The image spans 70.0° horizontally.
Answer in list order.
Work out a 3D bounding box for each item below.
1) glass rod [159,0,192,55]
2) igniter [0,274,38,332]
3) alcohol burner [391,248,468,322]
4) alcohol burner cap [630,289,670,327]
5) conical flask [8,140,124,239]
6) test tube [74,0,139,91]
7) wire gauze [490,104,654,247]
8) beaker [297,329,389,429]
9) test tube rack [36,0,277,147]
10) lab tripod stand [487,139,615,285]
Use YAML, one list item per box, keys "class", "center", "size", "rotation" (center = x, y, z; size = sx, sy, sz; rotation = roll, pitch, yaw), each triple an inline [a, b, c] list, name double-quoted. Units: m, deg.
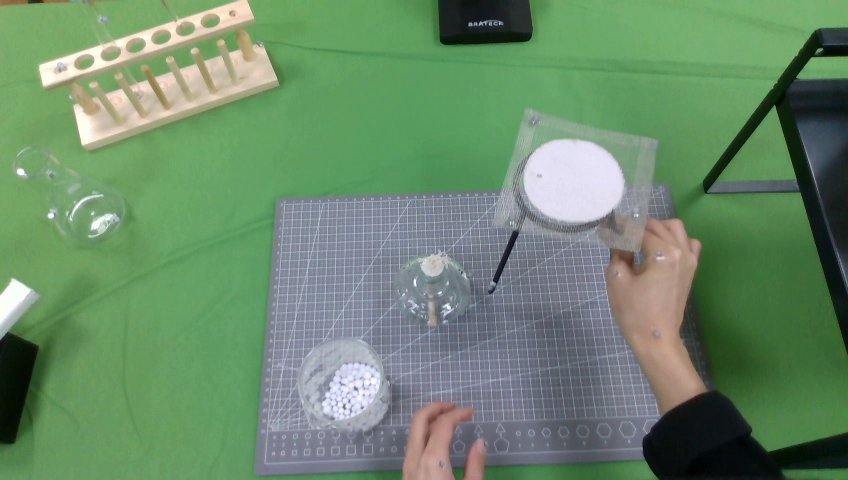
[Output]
- class: "glass rod"
  center: [-0.289, -0.261, 0.673]
  size: [0.008, 0.201, 0.008]
  rotation: [-4, 60, 7]
- class: "igniter"
  center: [-0.464, 0.149, 0.549]
  size: [0.057, 0.025, 0.275]
  rotation: [24, 68, 21]
- class: "alcohol burner"
  center: [0.006, 0.038, 0.591]
  size: [0.078, 0.120, 0.077]
  rotation: [0, 65, -1]
- class: "alcohol burner cap"
  center: [0.231, 0.066, 0.614]
  size: [0.034, 0.048, 0.033]
  rotation: [-1, 66, 2]
- class: "conical flask"
  center: [-0.379, -0.057, 0.637]
  size: [0.075, 0.123, 0.075]
  rotation: [-1, 66, 2]
- class: "test tube"
  center: [-0.354, -0.223, 0.675]
  size: [0.017, 0.151, 0.017]
  rotation: [0, 60, 0]
- class: "wire gauze"
  center: [0.130, -0.057, 0.519]
  size: [0.121, 0.011, 0.124]
  rotation: [15, 64, 8]
- class: "beaker"
  center: [-0.072, 0.136, 0.558]
  size: [0.073, 0.101, 0.083]
  rotation: [26, 70, 13]
- class: "test tube rack"
  center: [-0.310, -0.200, 0.719]
  size: [0.242, 0.086, 0.066]
  rotation: [-22, 67, -8]
- class: "lab tripod stand"
  center: [0.125, -0.021, 0.576]
  size: [0.148, 0.132, 0.147]
  rotation: [0, 61, 0]
